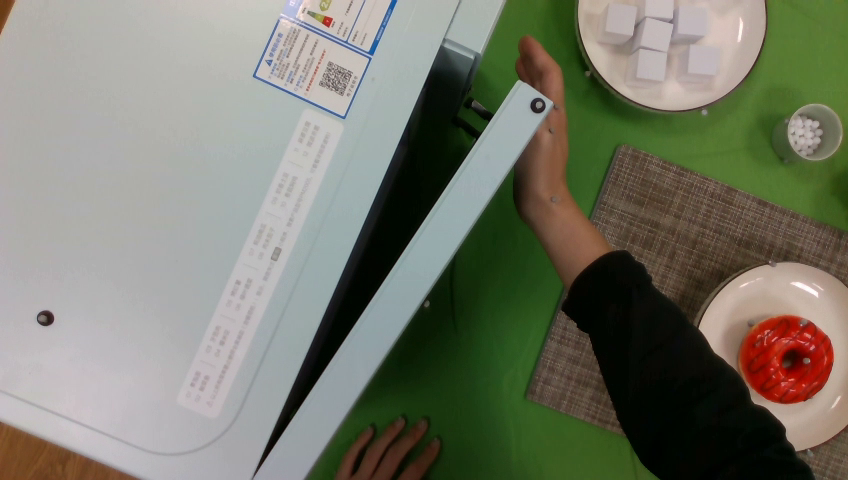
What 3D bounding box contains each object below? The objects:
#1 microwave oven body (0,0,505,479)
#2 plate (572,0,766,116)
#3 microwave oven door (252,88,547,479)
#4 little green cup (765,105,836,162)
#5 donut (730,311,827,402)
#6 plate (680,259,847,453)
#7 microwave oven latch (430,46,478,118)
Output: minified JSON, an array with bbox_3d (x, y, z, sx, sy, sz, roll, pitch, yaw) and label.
[{"bbox_3d":[-0.171,-0.068,0.524,0.326,0.260,0.441,24,90,-3],"label":"microwave oven body"},{"bbox_3d":[0.261,-0.237,0.658,0.208,0.039,0.207,0,91,-3],"label":"plate"},{"bbox_3d":[-0.029,0.045,0.528,0.039,0.243,0.355,34,89,-2],"label":"microwave oven door"},{"bbox_3d":[0.412,-0.115,0.668,0.061,0.038,0.061,0,90,-2],"label":"little green cup"},{"bbox_3d":[0.382,0.126,0.655,0.099,0.048,0.099,0,92,-1],"label":"donut"},{"bbox_3d":[0.379,0.125,0.666,0.209,0.038,0.209,0,91,-3],"label":"plate"},{"bbox_3d":[0.033,-0.170,0.629,0.030,0.029,0.079,24,90,-3],"label":"microwave oven latch"}]
